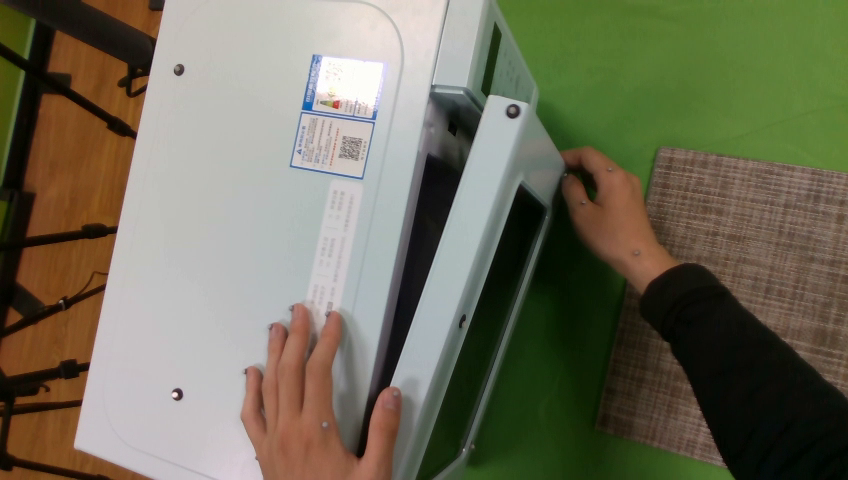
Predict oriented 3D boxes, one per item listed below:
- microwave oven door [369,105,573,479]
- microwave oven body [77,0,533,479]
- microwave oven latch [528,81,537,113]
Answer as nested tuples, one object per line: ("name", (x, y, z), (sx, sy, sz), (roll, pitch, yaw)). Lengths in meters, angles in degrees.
("microwave oven door", (0.046, 0.081, 0.545), (0.039, 0.245, 0.355), (20, 92, 21))
("microwave oven body", (-0.102, 0.009, 0.609), (0.324, 0.261, 0.441), (11, 90, 20))
("microwave oven latch", (0.102, -0.130, 0.651), (0.030, 0.029, 0.079), (11, 90, 20))
